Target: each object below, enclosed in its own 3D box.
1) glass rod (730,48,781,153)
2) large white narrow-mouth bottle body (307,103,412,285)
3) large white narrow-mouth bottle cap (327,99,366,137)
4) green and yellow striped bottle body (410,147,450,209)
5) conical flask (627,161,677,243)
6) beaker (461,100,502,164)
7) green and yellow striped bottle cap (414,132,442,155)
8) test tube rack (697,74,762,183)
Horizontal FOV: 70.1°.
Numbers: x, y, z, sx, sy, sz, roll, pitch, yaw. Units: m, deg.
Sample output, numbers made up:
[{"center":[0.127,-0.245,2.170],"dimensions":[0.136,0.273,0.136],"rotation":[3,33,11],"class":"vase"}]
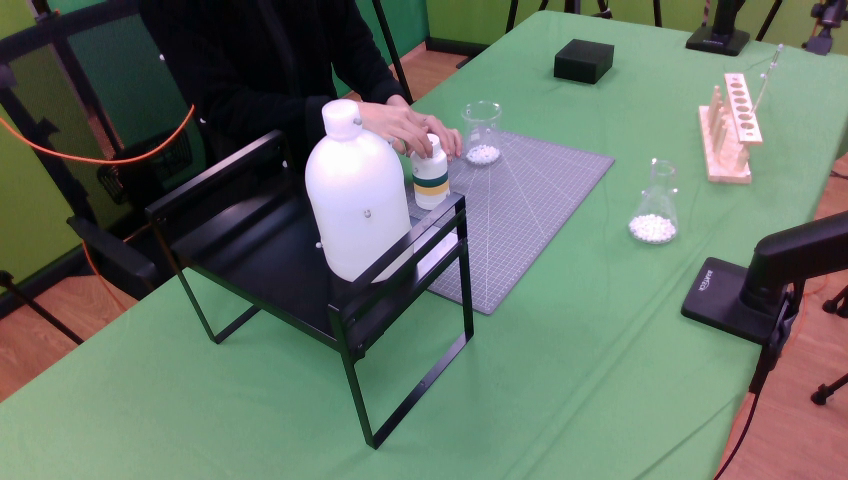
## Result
[{"center":[0.554,-0.228,1.015],"dimensions":[0.008,0.200,0.008],"rotation":[1,44,-1],"class":"glass rod"},{"center":[-0.070,-0.051,0.638],"dimensions":[0.102,0.195,0.101],"rotation":[-3,40,3],"class":"large white narrow-mouth bottle body"},{"center":[-0.075,-0.118,0.582],"dimensions":[0.038,0.024,0.037],"rotation":[-3,40,3],"class":"large white narrow-mouth bottle cap"},{"center":[0.011,-0.117,1.032],"dimensions":[0.063,0.120,0.063],"rotation":[-4,40,4],"class":"green and yellow striped bottle body"},{"center":[0.355,-0.061,0.921],"dimensions":[0.075,0.122,0.075],"rotation":[-4,41,4],"class":"conical flask"},{"center":[0.111,-0.200,1.132],"dimensions":[0.084,0.100,0.073],"rotation":[-27,45,-22],"class":"beaker"},{"center":[0.006,-0.159,0.998],"dimensions":[0.045,0.020,0.045],"rotation":[-4,39,4],"class":"green and yellow striped bottle cap"},{"center":[0.547,-0.208,1.094],"dimensions":[0.066,0.085,0.242],"rotation":[5,42,15],"class":"test tube rack"}]
